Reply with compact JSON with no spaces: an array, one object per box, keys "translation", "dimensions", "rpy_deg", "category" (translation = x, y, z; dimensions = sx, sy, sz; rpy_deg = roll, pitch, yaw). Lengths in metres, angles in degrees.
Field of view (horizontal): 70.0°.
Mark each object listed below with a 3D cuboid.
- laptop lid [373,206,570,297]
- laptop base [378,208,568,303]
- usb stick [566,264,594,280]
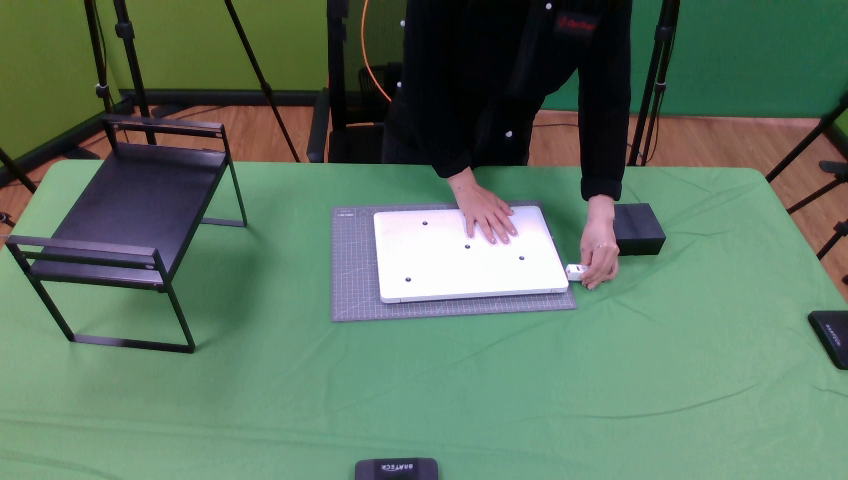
[{"translation":[0.083,0.015,1.175],"dimensions":[0.357,0.013,0.240],"rpy_deg":[-2,44,-6],"category":"laptop lid"},{"translation":[0.083,0.024,1.181],"dimensions":[0.355,0.023,0.234],"rpy_deg":[-3,43,-7],"category":"laptop base"},{"translation":[0.287,0.061,1.145],"dimensions":[0.059,0.027,0.021],"rpy_deg":[-1,44,-6],"category":"usb stick"}]
